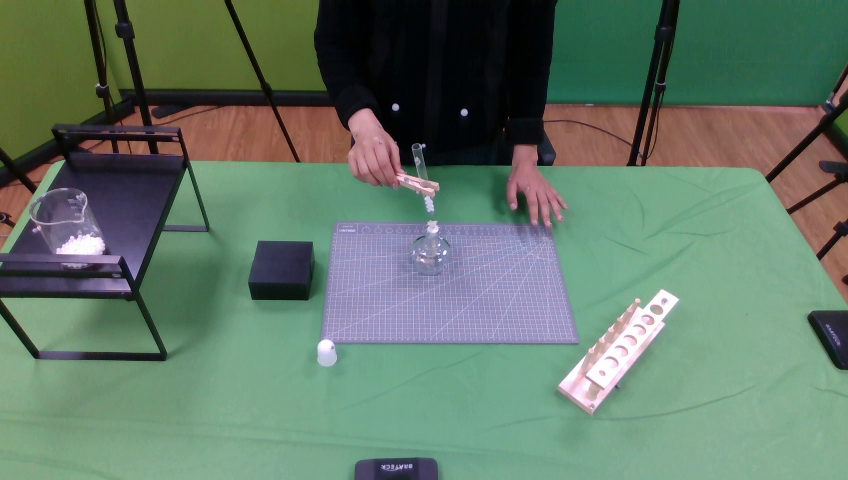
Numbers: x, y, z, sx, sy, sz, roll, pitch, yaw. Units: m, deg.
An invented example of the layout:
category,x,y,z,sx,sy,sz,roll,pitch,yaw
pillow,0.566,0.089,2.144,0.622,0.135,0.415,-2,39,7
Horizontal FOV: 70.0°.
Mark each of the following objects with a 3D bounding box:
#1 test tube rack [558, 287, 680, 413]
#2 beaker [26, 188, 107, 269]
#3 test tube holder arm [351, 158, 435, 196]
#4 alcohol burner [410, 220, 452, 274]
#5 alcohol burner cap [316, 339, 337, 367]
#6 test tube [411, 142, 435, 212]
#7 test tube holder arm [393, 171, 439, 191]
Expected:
category,x,y,z,sx,sy,sz,roll,pitch,yaw
test tube rack,0.326,0.170,1.009,0.066,0.085,0.242,36,54,27
beaker,-0.504,-0.013,0.868,0.084,0.101,0.074,23,49,17
test tube holder arm,-0.056,-0.111,1.047,0.177,0.015,0.013,22,54,27
alcohol burner,0.013,0.007,1.120,0.078,0.120,0.077,1,48,-1
alcohol burner cap,-0.161,0.182,0.995,0.034,0.048,0.033,2,47,-2
test tube,-0.001,-0.101,1.007,0.017,0.151,0.017,-6,48,7
test tube holder arm,-0.016,-0.101,1.031,0.087,0.015,0.010,16,52,23
